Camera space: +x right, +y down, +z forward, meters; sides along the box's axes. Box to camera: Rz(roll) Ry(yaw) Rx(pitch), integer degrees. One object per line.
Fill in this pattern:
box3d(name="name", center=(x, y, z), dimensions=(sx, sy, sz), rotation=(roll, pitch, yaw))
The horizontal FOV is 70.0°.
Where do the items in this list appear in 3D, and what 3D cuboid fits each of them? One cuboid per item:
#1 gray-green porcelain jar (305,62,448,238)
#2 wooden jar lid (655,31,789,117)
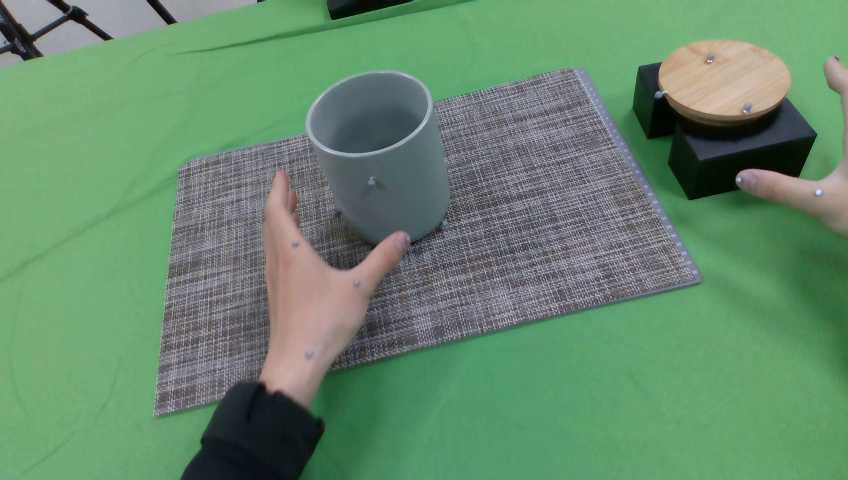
box3d(name="gray-green porcelain jar", center=(-0.035, -0.072, 0.532), dimensions=(0.106, 0.128, 0.105), rotation=(-5, 52, 7))
box3d(name="wooden jar lid", center=(0.263, -0.147, 0.540), dimensions=(0.108, 0.021, 0.107), rotation=(-5, 54, 7))
